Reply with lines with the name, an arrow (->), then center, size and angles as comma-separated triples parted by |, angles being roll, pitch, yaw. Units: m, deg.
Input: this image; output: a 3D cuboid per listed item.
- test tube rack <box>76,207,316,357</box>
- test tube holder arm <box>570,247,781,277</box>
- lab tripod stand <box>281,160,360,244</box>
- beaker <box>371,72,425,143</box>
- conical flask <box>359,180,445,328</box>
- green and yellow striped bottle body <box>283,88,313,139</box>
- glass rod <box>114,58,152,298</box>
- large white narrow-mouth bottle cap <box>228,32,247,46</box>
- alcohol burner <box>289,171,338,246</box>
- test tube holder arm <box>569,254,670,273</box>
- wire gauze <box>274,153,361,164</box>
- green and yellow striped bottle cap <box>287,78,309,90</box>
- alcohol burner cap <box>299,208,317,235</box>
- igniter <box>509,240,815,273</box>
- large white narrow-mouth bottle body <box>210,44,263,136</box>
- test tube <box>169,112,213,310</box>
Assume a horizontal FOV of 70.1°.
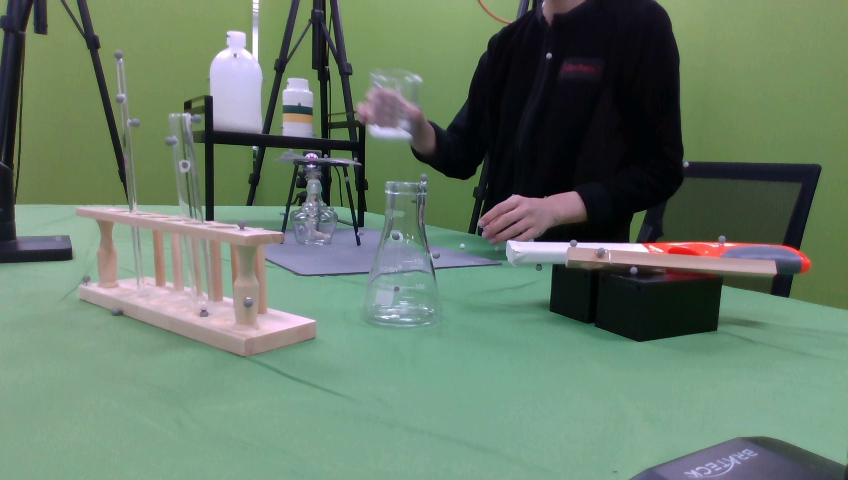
test tube rack -> -0.196, 0.023, 0.500 | 0.241, 0.085, 0.067 | 8, 9, 36
test tube holder arm -> 0.217, 0.019, 0.524 | 0.178, 0.015, 0.013 | 3, -23, 3
lab tripod stand -> -0.170, -0.063, 0.983 | 0.148, 0.131, 0.148 | 1, 6, 0
beaker -> -0.039, -0.199, 0.921 | 0.084, 0.100, 0.074 | 4, 6, 19
conical flask -> -0.017, 0.010, 0.522 | 0.075, 0.122, 0.075 | 2, 7, 0
green and yellow striped bottle body -> -0.265, -0.275, 1.275 | 0.063, 0.119, 0.063 | 2, 7, 0
glass rod -> -0.236, -0.044, 0.492 | 0.008, 0.199, 0.008 | 0, 15, 0
large white narrow-mouth bottle cap -> -0.364, -0.390, 1.180 | 0.038, 0.024, 0.037 | 4, 8, 0
alcohol burner -> -0.177, -0.051, 0.968 | 0.078, 0.119, 0.078 | 1, 6, 0
test tube holder arm -> 0.172, 0.019, 0.532 | 0.088, 0.015, 0.010 | 3, -23, 4
wire gauze -> -0.175, -0.130, 0.978 | 0.125, 0.011, 0.121 | 1, 6, -19
green and yellow striped bottle cap -> -0.265, -0.326, 1.268 | 0.045, 0.020, 0.045 | 4, 6, 0
alcohol burner cap -> -0.213, -0.035, 1.109 | 0.034, 0.048, 0.034 | 3, 7, 0
igniter -> 0.220, 0.015, 0.566 | 0.277, 0.025, 0.057 | 2, 16, 0
large white narrow-mouth bottle body -> -0.369, -0.305, 1.194 | 0.102, 0.194, 0.102 | 4, 8, 0
test tube -> -0.175, -0.020, 0.455 | 0.017, 0.150, 0.017 | -3, 9, 1
